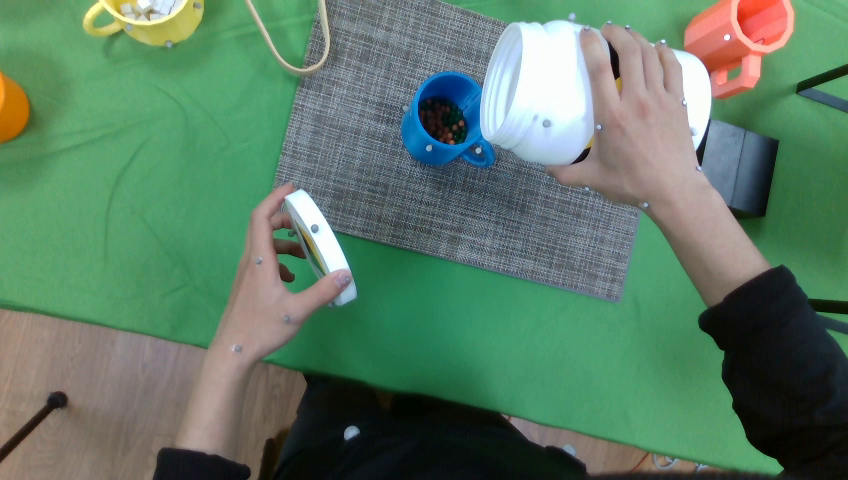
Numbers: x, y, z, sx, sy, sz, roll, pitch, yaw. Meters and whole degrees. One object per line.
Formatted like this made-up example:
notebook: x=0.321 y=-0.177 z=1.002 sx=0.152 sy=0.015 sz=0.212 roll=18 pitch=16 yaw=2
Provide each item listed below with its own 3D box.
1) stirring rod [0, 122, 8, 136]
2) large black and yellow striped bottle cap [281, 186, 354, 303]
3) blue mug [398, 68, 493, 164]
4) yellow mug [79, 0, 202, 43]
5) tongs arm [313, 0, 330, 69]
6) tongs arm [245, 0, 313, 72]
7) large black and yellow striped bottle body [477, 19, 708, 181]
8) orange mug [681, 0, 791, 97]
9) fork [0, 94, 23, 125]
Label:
stirring rod: x=-0.486 y=-0.149 z=0.572 sx=0.006 sy=0.178 sz=0.014 roll=4 pitch=69 yaw=33
large black and yellow striped bottle cap: x=-0.100 y=0.005 z=0.565 sx=0.019 sy=0.115 sz=0.115 roll=-28 pitch=94 yaw=-19
blue mug: x=0.030 y=-0.127 z=0.684 sx=0.117 sy=0.105 sz=0.082 roll=40 pitch=82 yaw=-7
yellow mug: x=-0.309 y=-0.262 z=0.647 sx=0.131 sy=0.064 sz=0.100 roll=-38 pitch=96 yaw=-8
tongs arm: x=-0.144 y=-0.391 z=0.676 sx=0.028 sy=0.027 sz=0.388 roll=-11 pitch=98 yaw=-19
tongs arm: x=-0.222 y=-0.364 z=0.659 sx=0.051 sy=0.026 sz=0.386 roll=-25 pitch=101 yaw=-13
large black and yellow striped bottle body: x=0.154 y=-0.134 z=0.581 sx=0.185 sy=0.130 sz=0.130 roll=8 pitch=87 yaw=-13
orange mug: x=0.388 y=-0.249 z=0.760 sx=0.084 sy=0.101 sz=0.126 roll=4 pitch=84 yaw=-10
fork: x=-0.489 y=-0.168 z=0.569 sx=0.209 sy=0.018 sz=0.028 roll=34 pitch=80 yaw=-52
